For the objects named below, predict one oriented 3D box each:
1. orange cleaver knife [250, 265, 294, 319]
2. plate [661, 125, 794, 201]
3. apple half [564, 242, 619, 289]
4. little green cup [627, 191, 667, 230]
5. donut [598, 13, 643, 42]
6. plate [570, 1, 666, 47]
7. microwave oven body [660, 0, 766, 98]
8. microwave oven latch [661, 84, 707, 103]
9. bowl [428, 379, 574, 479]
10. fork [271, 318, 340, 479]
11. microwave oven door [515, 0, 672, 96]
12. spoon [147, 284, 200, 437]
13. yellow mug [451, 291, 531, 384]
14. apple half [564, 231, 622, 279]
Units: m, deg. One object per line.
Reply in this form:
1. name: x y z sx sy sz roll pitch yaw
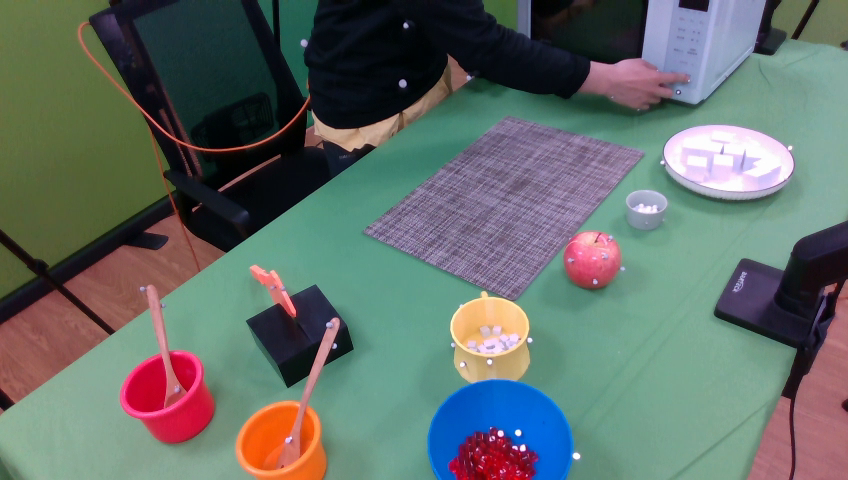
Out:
1. orange cleaver knife: -0.221 0.073 0.876 0.012 0.077 0.210 -23 12 -22
2. plate: 0.514 -0.128 1.035 0.207 0.039 0.206 -4 40 4
3. apple half: 0.229 0.044 0.848 0.081 0.081 0.033 16 41 26
4. little green cup: 0.352 -0.046 0.963 0.061 0.039 0.061 -4 40 4
5. donut: 0.438 -0.473 1.346 0.099 0.048 0.098 -18 22 8
6. plate: 0.437 -0.485 1.370 0.209 0.038 0.208 -4 41 4
7. microwave oven body: 0.473 -0.513 1.317 0.438 0.261 0.327 26 51 34
8. microwave oven latch: 0.516 -0.296 1.204 0.078 0.029 0.030 25 50 33
9. bowl: 0.082 0.233 0.645 0.151 0.077 0.150 -4 39 4
10. fork: -0.131 0.186 0.676 0.028 0.019 0.207 17 90 28
11. microwave oven door: 0.344 -0.455 1.260 0.353 0.245 0.039 26 51 33
12. spoon: -0.318 0.148 0.754 0.042 0.021 0.193 -15 85 -5
13. yellow mug: 0.085 0.120 0.786 0.100 0.064 0.130 -7 39 1
14. apple half: 0.249 0.021 0.874 0.080 0.075 0.053 13 40 29
